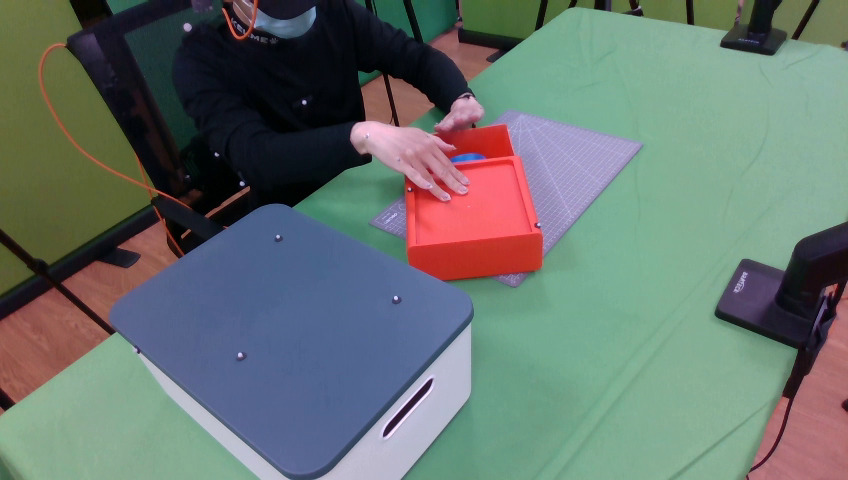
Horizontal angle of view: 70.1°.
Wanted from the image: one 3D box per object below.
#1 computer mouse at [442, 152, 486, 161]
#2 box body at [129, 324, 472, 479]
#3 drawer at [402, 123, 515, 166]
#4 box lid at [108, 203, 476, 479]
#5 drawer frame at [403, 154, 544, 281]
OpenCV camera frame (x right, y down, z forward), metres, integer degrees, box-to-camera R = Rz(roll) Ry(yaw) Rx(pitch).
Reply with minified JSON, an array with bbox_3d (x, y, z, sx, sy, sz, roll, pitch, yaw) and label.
[{"bbox_3d":[0.063,-0.124,1.080,0.117,0.041,0.062,-12,42,2],"label":"computer mouse"},{"bbox_3d":[-0.147,0.136,0.726,0.361,0.161,0.255,24,50,32],"label":"box body"},{"bbox_3d":[0.065,-0.109,1.042,0.195,0.073,0.210,-6,42,0],"label":"drawer"},{"bbox_3d":[-0.156,0.079,0.678,0.368,0.015,0.264,24,49,32],"label":"box lid"},{"bbox_3d":[0.072,-0.041,0.958,0.202,0.083,0.212,-6,41,1],"label":"drawer frame"}]
